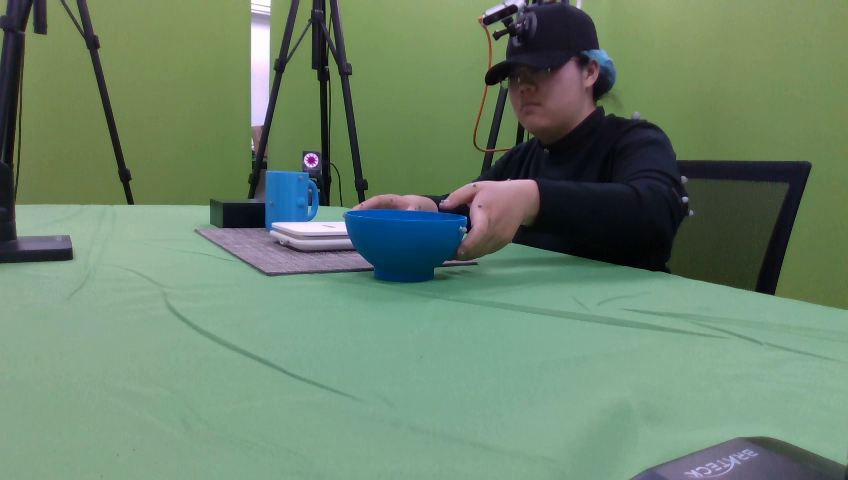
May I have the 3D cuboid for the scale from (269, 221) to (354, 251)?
[{"bbox_3d":[-0.130,-0.008,0.959,0.202,0.031,0.148,-1,9,-32],"label":"scale"}]

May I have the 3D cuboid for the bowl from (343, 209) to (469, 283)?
[{"bbox_3d":[-0.023,0.007,0.731,0.151,0.077,0.151,3,7,0],"label":"bowl"}]

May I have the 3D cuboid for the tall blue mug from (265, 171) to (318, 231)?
[{"bbox_3d":[-0.248,-0.073,1.121,0.078,0.108,0.107,3,7,8],"label":"tall blue mug"}]
